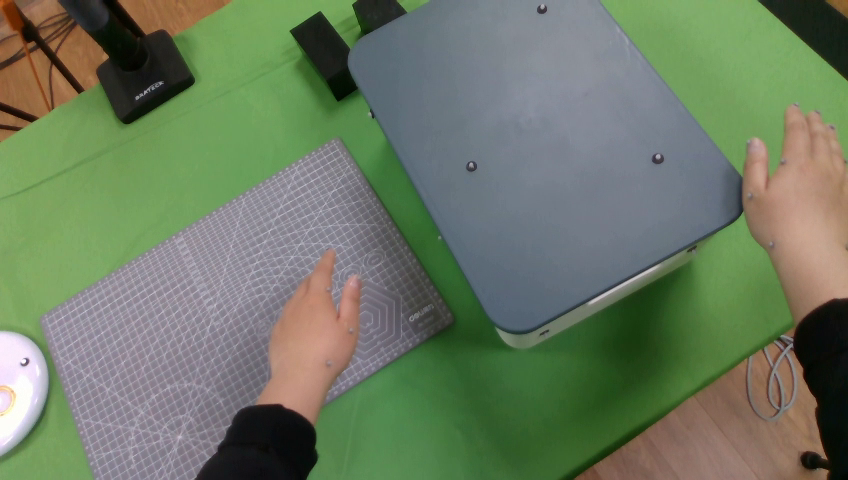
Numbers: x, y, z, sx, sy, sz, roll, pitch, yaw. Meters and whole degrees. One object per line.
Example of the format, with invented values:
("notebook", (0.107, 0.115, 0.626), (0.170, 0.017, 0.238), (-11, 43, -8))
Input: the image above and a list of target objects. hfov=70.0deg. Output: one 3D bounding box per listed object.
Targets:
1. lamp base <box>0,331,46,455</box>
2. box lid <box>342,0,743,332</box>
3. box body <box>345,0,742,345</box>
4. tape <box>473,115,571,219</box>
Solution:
("lamp base", (-0.564, 0.164, 0.674), (0.179, 0.182, 0.159), (4, 71, 13))
("box lid", (0.099, -0.121, 0.600), (0.263, 0.015, 0.368), (-29, 70, -2))
("box body", (0.111, -0.094, 0.668), (0.254, 0.161, 0.361), (-29, 69, -2))
("tape", (0.115, -0.087, 0.717), (0.117, 0.053, 0.116), (-3, 70, 8))
